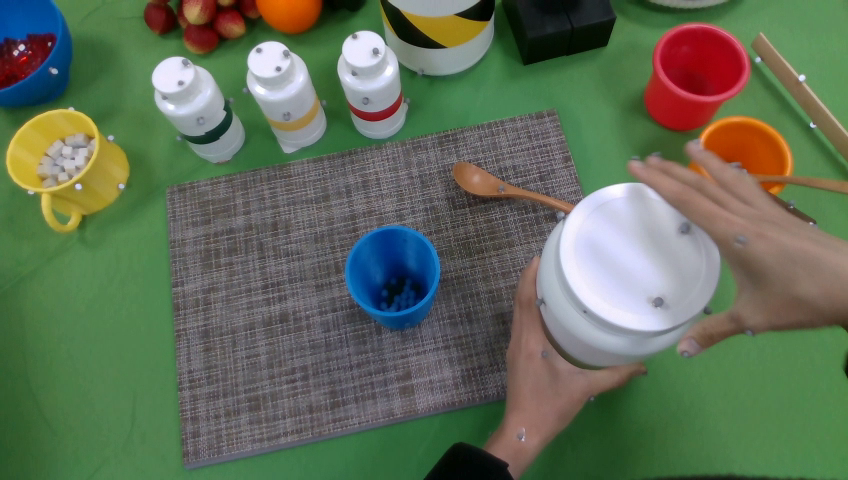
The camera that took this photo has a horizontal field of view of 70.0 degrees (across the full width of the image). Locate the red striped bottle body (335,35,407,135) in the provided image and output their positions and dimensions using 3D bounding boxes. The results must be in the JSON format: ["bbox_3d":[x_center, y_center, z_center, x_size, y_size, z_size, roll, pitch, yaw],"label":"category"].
[{"bbox_3d":[-0.057,-0.170,0.648,0.063,0.120,0.062,-3,68,7],"label":"red striped bottle body"}]

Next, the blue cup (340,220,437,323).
[{"bbox_3d":[-0.030,0.039,0.577,0.092,0.101,0.092,0,70,2],"label":"blue cup"}]

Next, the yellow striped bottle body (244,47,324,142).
[{"bbox_3d":[-0.150,-0.161,0.649,0.063,0.121,0.062,-1,70,4],"label":"yellow striped bottle body"}]

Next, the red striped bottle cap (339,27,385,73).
[{"bbox_3d":[-0.061,-0.188,0.598,0.044,0.018,0.044,0,68,-1],"label":"red striped bottle cap"}]

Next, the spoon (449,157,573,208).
[{"bbox_3d":[0.118,-0.048,0.644,0.193,0.022,0.041,18,47,8],"label":"spoon"}]

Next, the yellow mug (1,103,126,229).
[{"bbox_3d":[-0.392,-0.075,0.658,0.100,0.064,0.130,-2,71,1],"label":"yellow mug"}]

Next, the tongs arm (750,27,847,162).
[{"bbox_3d":[0.477,-0.083,0.635,0.051,0.027,0.382,-24,72,-8],"label":"tongs arm"}]

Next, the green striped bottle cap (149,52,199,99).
[{"bbox_3d":[-0.247,-0.163,0.599,0.044,0.020,0.044,-1,69,2],"label":"green striped bottle cap"}]

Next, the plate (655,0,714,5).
[{"bbox_3d":[0.312,-0.371,0.745,0.209,0.038,0.207,-1,71,2],"label":"plate"}]

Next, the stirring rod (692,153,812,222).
[{"bbox_3d":[0.307,-0.055,0.581,0.014,0.006,0.174,-10,27,-3],"label":"stirring rod"}]

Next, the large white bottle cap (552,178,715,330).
[{"bbox_3d":[0.152,0.009,0.444,0.115,0.018,0.114,-1,70,3],"label":"large white bottle cap"}]

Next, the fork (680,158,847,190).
[{"bbox_3d":[0.338,-0.059,0.573,0.028,0.019,0.205,-50,31,-14],"label":"fork"}]

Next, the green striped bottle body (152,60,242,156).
[{"bbox_3d":[-0.243,-0.145,0.648,0.063,0.120,0.063,-1,70,3],"label":"green striped bottle body"}]

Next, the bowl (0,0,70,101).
[{"bbox_3d":[-0.478,-0.217,0.707,0.151,0.077,0.150,-1,70,2],"label":"bowl"}]

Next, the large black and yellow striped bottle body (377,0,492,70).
[{"bbox_3d":[0.010,-0.288,0.653,0.131,0.185,0.130,-1,70,3],"label":"large black and yellow striped bottle body"}]

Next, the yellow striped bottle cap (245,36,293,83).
[{"bbox_3d":[-0.153,-0.179,0.600,0.044,0.019,0.044,0,72,2],"label":"yellow striped bottle cap"}]

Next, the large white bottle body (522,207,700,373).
[{"bbox_3d":[0.158,0.038,0.524,0.130,0.186,0.129,-1,69,3],"label":"large white bottle body"}]
